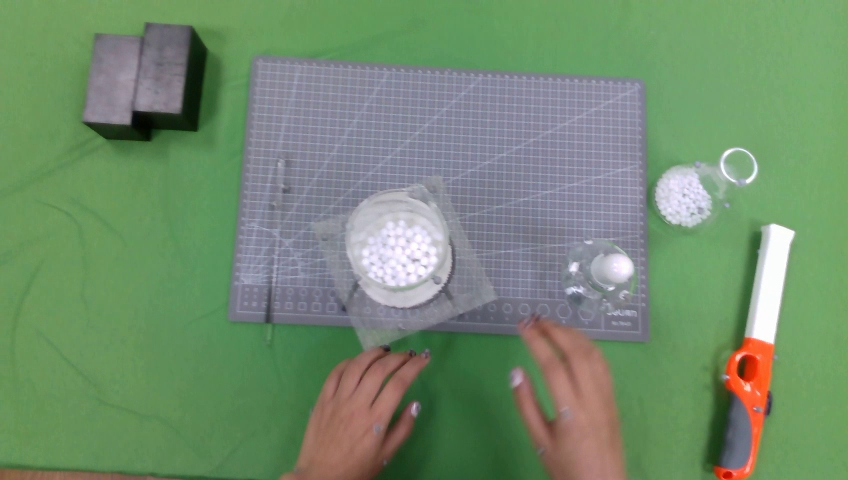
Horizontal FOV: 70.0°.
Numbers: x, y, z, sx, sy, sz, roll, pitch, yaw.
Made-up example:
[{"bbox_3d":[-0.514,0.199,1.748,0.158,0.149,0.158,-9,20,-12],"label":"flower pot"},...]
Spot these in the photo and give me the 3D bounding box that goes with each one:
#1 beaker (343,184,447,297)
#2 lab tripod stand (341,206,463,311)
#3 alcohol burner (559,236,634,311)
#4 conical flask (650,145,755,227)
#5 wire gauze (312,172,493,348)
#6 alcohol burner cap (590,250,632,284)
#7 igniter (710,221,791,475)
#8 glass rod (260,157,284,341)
[{"bbox_3d":[-0.020,0.004,0.479,0.074,0.100,0.084,25,80,2],"label":"beaker"},{"bbox_3d":[-0.022,0.028,0.591,0.148,0.132,0.148,0,82,-1],"label":"lab tripod stand"},{"bbox_3d":[0.177,0.031,0.607,0.078,0.119,0.077,0,78,0],"label":"alcohol burner"},{"bbox_3d":[0.291,-0.061,0.625,0.075,0.122,0.075,0,79,-1],"label":"conical flask"},{"bbox_3d":[-0.019,0.017,0.526,0.125,0.011,0.121,-22,84,-7],"label":"wire gauze"},{"bbox_3d":[0.178,0.024,0.571,0.034,0.048,0.034,0,85,-2],"label":"alcohol burner cap"},{"bbox_3d":[0.350,0.113,0.646,0.057,0.025,0.275,18,80,-9],"label":"igniter"},{"bbox_3d":[-0.163,0.008,0.652,0.008,0.008,0.199,4,83,-1],"label":"glass rod"}]
